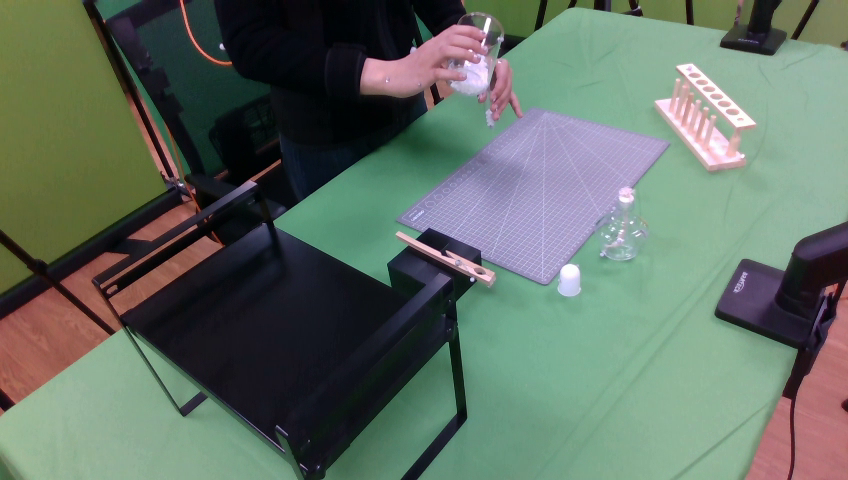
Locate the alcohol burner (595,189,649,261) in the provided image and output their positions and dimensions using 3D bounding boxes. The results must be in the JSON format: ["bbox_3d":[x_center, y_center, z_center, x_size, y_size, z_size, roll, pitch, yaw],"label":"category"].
[{"bbox_3d":[0.294,-0.028,0.894,0.078,0.119,0.077,-4,43,4],"label":"alcohol burner"}]

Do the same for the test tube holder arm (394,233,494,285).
[{"bbox_3d":[0.025,0.025,0.872,0.177,0.015,0.013,23,57,31],"label":"test tube holder arm"}]

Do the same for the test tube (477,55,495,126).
[{"bbox_3d":[0.107,-0.251,1.030,0.017,0.151,0.017,-6,55,9],"label":"test tube"}]

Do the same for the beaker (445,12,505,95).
[{"bbox_3d":[0.076,-0.276,0.910,0.074,0.084,0.100,11,68,12],"label":"beaker"}]

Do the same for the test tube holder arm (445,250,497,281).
[{"bbox_3d":[0.063,0.036,0.851,0.087,0.015,0.010,24,57,32],"label":"test tube holder arm"}]

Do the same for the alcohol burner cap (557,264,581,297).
[{"bbox_3d":[0.208,0.055,0.866,0.034,0.048,0.033,-4,41,4],"label":"alcohol burner cap"}]

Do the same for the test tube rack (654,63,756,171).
[{"bbox_3d":[0.510,-0.233,1.120,0.067,0.085,0.241,-8,41,-1],"label":"test tube rack"}]
